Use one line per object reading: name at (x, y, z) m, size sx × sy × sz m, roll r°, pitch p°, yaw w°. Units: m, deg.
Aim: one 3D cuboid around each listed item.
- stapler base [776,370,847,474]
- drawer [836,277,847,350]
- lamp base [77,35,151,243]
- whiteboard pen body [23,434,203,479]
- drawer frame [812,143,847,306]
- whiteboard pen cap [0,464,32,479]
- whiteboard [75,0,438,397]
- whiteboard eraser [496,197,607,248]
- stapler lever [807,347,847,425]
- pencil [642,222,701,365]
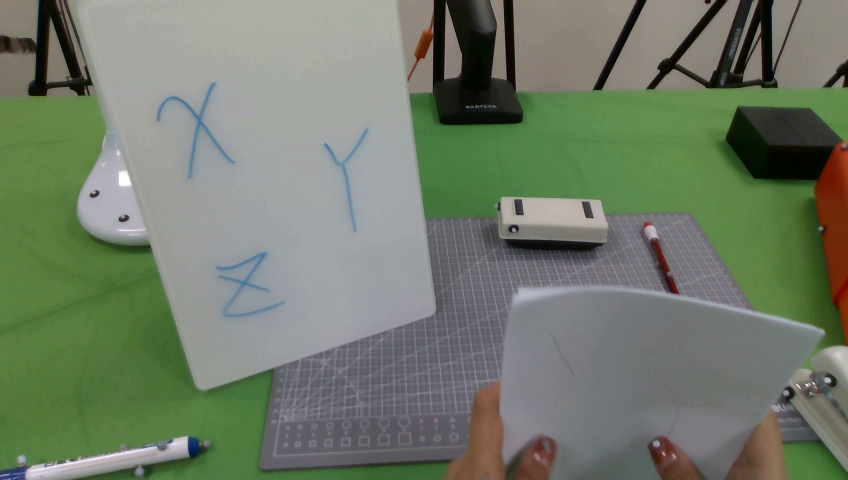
stapler base at (0.334, 0.151, 0.473) m, size 0.041 × 0.024 × 0.129 m, roll -9°, pitch 44°, yaw -12°
drawer at (0.503, 0.042, 0.569) m, size 0.194 × 0.074 × 0.210 m, roll 13°, pitch 41°, yaw 15°
lamp base at (-0.311, -0.114, 0.639) m, size 0.178 × 0.182 × 0.160 m, roll 25°, pitch 45°, yaw 29°
whiteboard pen body at (-0.236, 0.163, 0.441) m, size 0.141 × 0.017 × 0.017 m, roll -8°, pitch 41°, yaw -11°
drawer frame at (0.526, 0.000, 0.618) m, size 0.201 × 0.083 × 0.212 m, roll 14°, pitch 41°, yaw 15°
whiteboard pen cap at (-0.295, 0.170, 0.428) m, size 0.033 × 0.018 × 0.018 m, roll -9°, pitch 41°, yaw -11°
whiteboard at (-0.129, -0.060, 0.531) m, size 0.218 × 0.307 × 0.142 m, roll -16°, pitch 24°, yaw -19°
whiteboard eraser at (0.135, -0.018, 0.650) m, size 0.113 × 0.042 × 0.055 m, roll 3°, pitch 41°, yaw 1°
stapler lever at (0.337, 0.133, 0.455) m, size 0.027 × 0.040 × 0.116 m, roll -9°, pitch 44°, yaw -12°
pencil at (0.245, 0.046, 0.605) m, size 0.012 × 0.012 × 0.192 m, roll 2°, pitch 42°, yaw 0°
